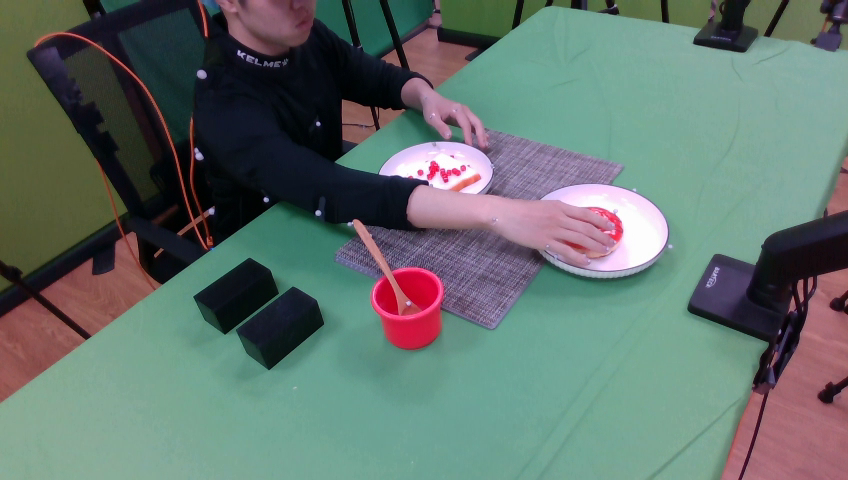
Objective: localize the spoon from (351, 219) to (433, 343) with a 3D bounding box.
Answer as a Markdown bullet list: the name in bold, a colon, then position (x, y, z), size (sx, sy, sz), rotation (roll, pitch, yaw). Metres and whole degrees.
- **spoon**: position (-0.045, 0.054, 0.820), size (0.042, 0.021, 0.193), rotation (-28, 89, -21)

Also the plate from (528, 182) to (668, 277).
- **plate**: position (0.264, -0.014, 0.933), size (0.207, 0.039, 0.206), rotation (-3, 42, 3)

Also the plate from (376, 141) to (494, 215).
- **plate**: position (0.021, -0.106, 1.073), size (0.209, 0.038, 0.208), rotation (-4, 40, 4)

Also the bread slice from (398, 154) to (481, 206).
- **bread slice**: position (0.021, -0.107, 1.077), size (0.132, 0.019, 0.104), rotation (-32, 46, -28)

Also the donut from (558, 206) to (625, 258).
- **donut**: position (0.254, -0.015, 0.917), size (0.099, 0.048, 0.098), rotation (-4, 41, 4)
